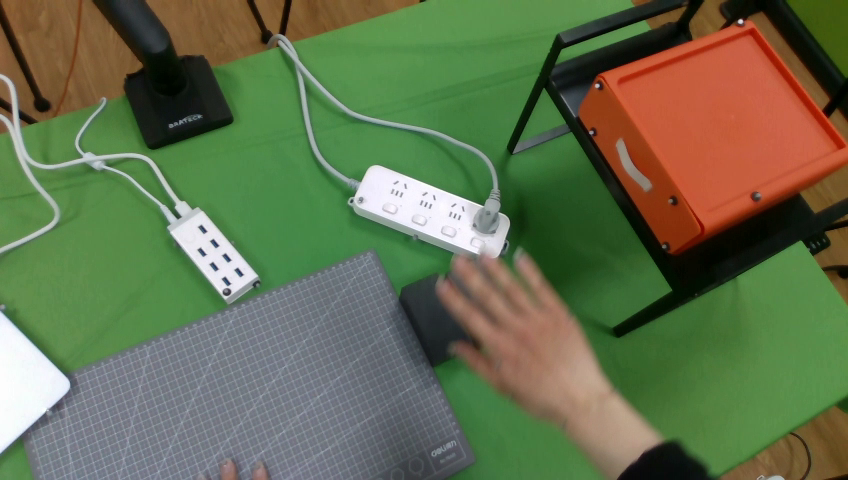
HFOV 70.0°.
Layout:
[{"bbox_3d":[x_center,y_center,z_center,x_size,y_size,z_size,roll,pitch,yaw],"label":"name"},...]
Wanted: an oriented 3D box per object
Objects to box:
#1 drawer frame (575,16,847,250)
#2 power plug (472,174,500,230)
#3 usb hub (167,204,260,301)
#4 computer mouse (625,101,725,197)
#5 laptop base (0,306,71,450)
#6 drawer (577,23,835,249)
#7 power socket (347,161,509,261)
[{"bbox_3d":[0.312,-0.122,0.669,0.214,0.083,0.200,-24,73,-16],"label":"drawer frame"},{"bbox_3d":[0.091,-0.045,0.811,0.035,0.053,0.072,32,66,6],"label":"power plug"},{"bbox_3d":[-0.267,0.015,0.767,0.049,0.025,0.124,-39,78,-18],"label":"usb hub"},{"bbox_3d":[0.281,-0.106,0.675,0.063,0.041,0.116,-28,72,-12],"label":"computer mouse"},{"bbox_3d":[-0.601,0.209,0.654,0.235,0.023,0.353,41,70,6],"label":"laptop base"},{"bbox_3d":[0.309,-0.120,0.669,0.212,0.073,0.193,-23,73,-15],"label":"drawer"},{"bbox_3d":[0.009,-0.039,0.819,0.226,0.033,0.072,22,67,2],"label":"power socket"}]
